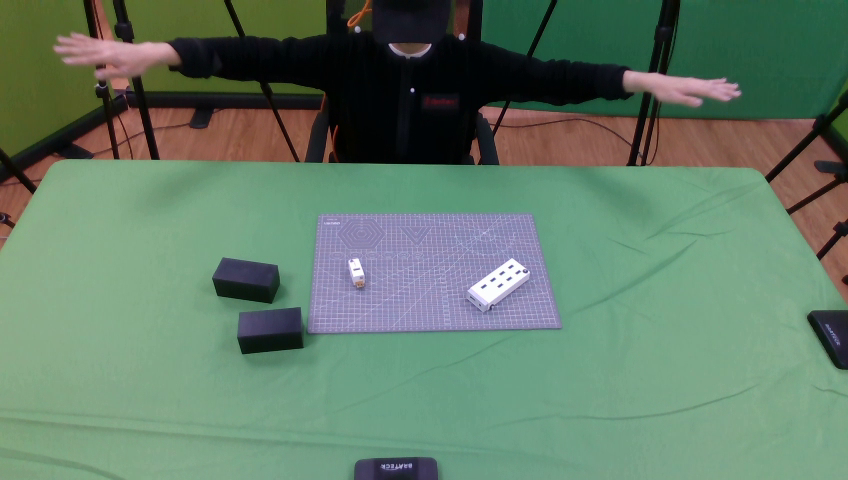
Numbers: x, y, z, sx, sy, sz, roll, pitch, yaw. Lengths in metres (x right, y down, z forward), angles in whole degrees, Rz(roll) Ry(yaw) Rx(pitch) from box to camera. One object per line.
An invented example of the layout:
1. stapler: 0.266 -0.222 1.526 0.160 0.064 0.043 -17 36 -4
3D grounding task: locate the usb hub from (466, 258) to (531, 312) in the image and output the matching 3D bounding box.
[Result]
1. usb hub: 0.139 0.083 1.121 0.125 0.025 0.049 -32 56 -29

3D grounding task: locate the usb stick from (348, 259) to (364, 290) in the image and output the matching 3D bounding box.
1. usb stick: -0.124 0.064 1.120 0.021 0.027 0.059 -9 50 -17
